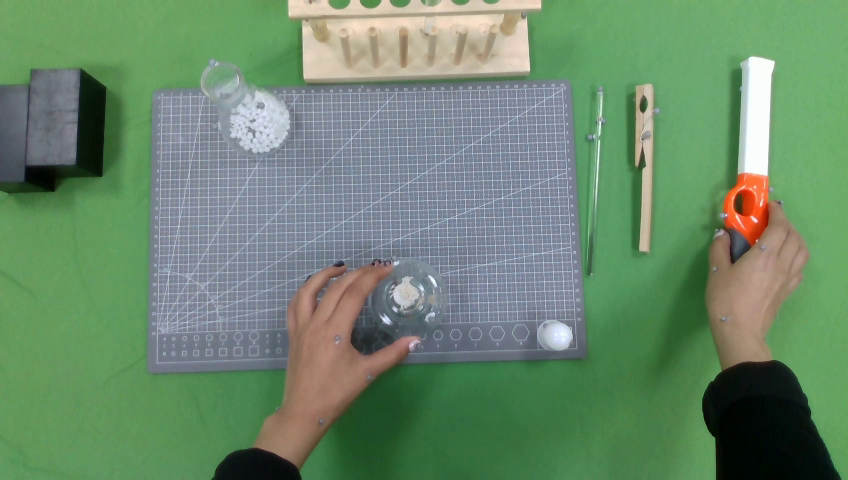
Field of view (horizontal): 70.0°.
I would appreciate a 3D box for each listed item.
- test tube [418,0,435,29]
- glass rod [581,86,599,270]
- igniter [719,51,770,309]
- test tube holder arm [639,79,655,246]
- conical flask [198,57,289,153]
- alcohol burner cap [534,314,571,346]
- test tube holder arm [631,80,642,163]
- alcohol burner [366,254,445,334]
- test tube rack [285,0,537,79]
[{"bbox_3d":[0.006,-0.243,0.574,0.017,0.150,0.017,1,80,-3],"label":"test tube"},{"bbox_3d":[0.178,-0.067,0.646,0.008,0.008,0.199,5,86,0],"label":"glass rod"},{"bbox_3d":[0.340,-0.063,0.638,0.057,0.025,0.276,8,84,-10],"label":"igniter"},{"bbox_3d":[0.235,-0.082,0.641,0.013,0.015,0.178,-6,82,36],"label":"test tube holder arm"},{"bbox_3d":[-0.179,-0.134,0.588,0.075,0.122,0.075,0,83,-1],"label":"conical flask"},{"bbox_3d":[0.131,0.090,0.609,0.034,0.048,0.033,0,82,-1],"label":"alcohol burner cap"},{"bbox_3d":[0.230,-0.127,0.649,0.010,0.015,0.087,-4,83,37],"label":"test tube holder arm"},{"bbox_3d":[-0.019,0.050,0.576,0.078,0.119,0.077,0,82,2],"label":"alcohol burner"},{"bbox_3d":[-0.012,-0.217,0.621,0.242,0.085,0.066,-3,84,-1],"label":"test tube rack"}]
